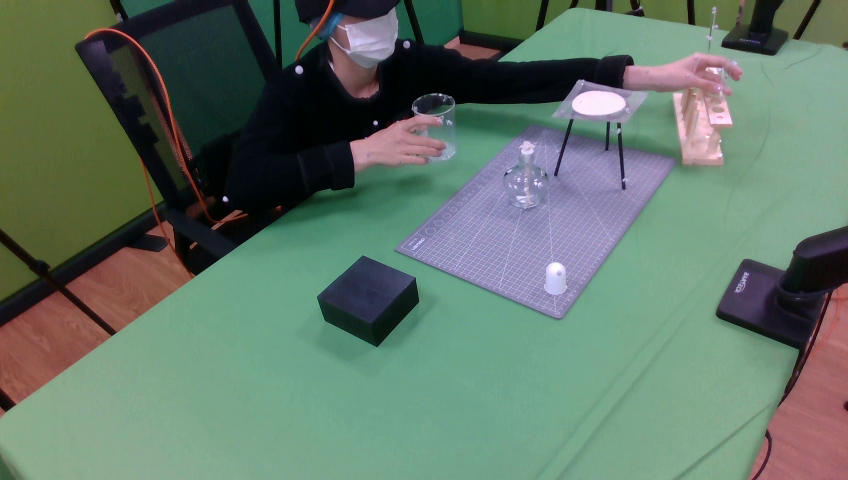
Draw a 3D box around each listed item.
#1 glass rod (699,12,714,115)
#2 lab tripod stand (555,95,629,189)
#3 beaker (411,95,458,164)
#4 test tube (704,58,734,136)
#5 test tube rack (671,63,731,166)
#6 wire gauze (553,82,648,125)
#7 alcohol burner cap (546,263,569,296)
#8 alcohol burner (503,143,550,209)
[{"bbox_3d":[0.526,-0.323,1.124,0.008,0.201,0.008,-8,38,7],"label":"glass rod"},{"bbox_3d":[0.300,-0.174,1.045,0.148,0.132,0.147,-5,38,5],"label":"lab tripod stand"},{"bbox_3d":[0.022,-0.192,1.057,0.073,0.101,0.084,17,47,25],"label":"beaker"},{"bbox_3d":[0.518,-0.248,1.063,0.017,0.151,0.017,-3,42,3],"label":"test tube"},{"bbox_3d":[0.513,-0.241,1.132,0.066,0.085,0.242,4,41,14],"label":"test tube rack"},{"bbox_3d":[0.293,-0.225,1.002,0.120,0.011,0.125,17,45,27],"label":"wire gauze"},{"bbox_3d":[0.191,0.053,0.862,0.034,0.048,0.033,-5,40,4],"label":"alcohol burner cap"},{"bbox_3d":[0.171,-0.111,1.006,0.078,0.119,0.077,-3,41,3],"label":"alcohol burner"}]
